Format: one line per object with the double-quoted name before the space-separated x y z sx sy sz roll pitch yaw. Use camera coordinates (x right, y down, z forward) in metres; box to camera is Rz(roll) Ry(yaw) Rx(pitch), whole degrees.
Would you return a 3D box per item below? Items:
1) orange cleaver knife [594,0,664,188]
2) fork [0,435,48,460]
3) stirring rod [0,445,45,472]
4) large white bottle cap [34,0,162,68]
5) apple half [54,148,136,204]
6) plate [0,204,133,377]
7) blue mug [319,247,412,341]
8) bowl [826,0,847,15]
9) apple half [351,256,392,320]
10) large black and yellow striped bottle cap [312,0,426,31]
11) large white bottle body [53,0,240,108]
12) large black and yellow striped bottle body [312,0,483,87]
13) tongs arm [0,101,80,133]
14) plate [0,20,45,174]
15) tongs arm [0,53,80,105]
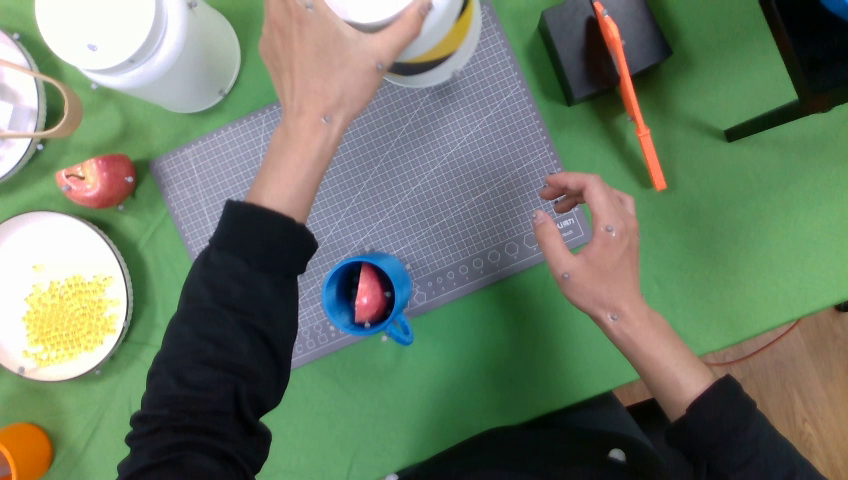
"orange cleaver knife" 0.219 -0.154 0.649 0.012 0.076 0.213 -21 117 14
"fork" -0.556 0.265 0.699 0.208 0.018 0.028 -8 92 -38
"stirring rod" -0.540 0.280 0.701 0.177 0.006 0.014 -16 79 -35
"large white bottle cap" -0.296 -0.216 0.549 0.115 0.018 0.115 0 93 5
"apple half" -0.375 -0.070 0.705 0.081 0.074 0.053 -19 94 2
"plate" -0.450 0.060 0.735 0.209 0.038 0.209 0 94 5
"blue mug" -0.052 0.063 0.668 0.082 0.106 0.116 -39 90 6
"bowl" 0.350 -0.230 0.457 0.151 0.077 0.151 0 93 5
"apple half" -0.051 0.053 0.662 0.032 0.081 0.081 9 93 12
"large black and yellow striped bottle cap" -0.042 -0.220 0.462 0.115 0.019 0.115 1 94 12
"large white bottle body" -0.288 -0.219 0.634 0.130 0.184 0.130 0 92 5
"large black and yellow striped bottle body" -0.023 -0.221 0.544 0.130 0.184 0.131 0 92 13
"tongs arm" -0.587 -0.148 0.702 0.384 0.026 0.050 5 90 6
"plate" -0.552 -0.172 0.730 0.207 0.039 0.207 0 94 4
"tongs arm" -0.572 -0.231 0.698 0.387 0.028 0.028 19 88 5
